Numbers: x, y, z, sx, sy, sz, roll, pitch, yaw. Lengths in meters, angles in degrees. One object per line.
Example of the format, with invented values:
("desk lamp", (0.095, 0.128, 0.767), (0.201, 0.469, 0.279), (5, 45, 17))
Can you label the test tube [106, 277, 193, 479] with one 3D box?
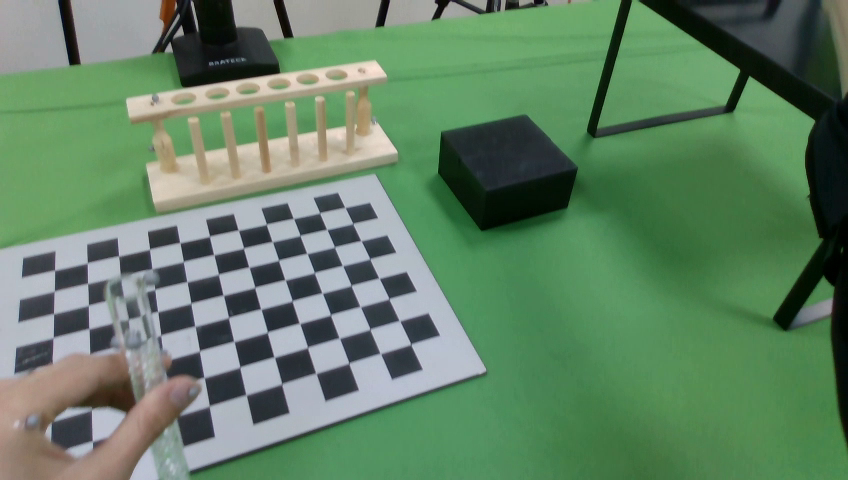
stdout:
("test tube", (-0.128, 0.079, 0.289), (0.017, 0.151, 0.017), (4, 37, -3))

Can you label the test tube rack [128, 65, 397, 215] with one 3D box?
("test tube rack", (-0.150, -0.103, 0.602), (0.243, 0.086, 0.066), (-15, 46, -19))
